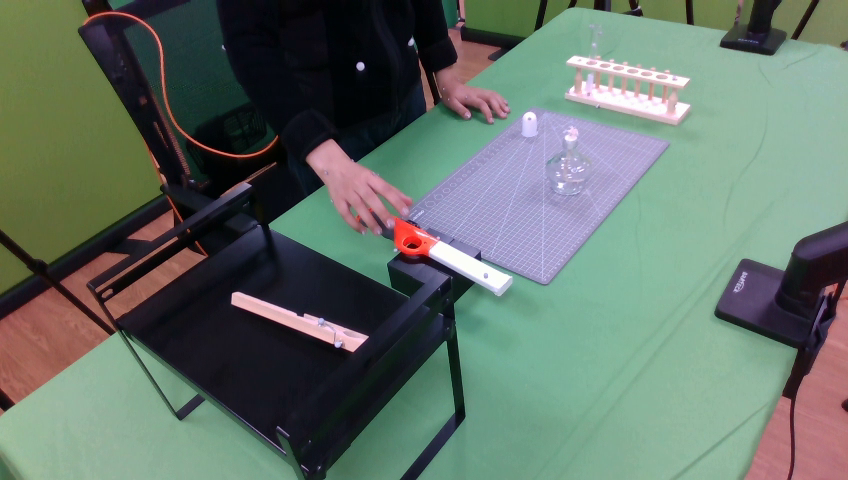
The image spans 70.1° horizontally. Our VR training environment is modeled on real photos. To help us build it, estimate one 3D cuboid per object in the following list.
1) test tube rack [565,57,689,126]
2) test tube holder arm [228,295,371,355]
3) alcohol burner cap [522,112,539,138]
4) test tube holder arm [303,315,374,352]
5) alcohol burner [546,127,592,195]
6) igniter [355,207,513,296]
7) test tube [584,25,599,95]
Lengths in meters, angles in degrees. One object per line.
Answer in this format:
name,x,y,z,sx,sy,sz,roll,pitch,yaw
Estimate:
test tube rack,0.412,-0.311,1.230,0.240,0.085,0.067,23,49,32
test tube holder arm,-0.132,0.084,0.618,0.177,0.015,0.013,14,6,24
alcohol burner cap,0.210,-0.230,1.195,0.034,0.048,0.033,-6,41,5
test tube holder arm,-0.089,0.094,0.604,0.087,0.015,0.010,14,6,25
alcohol burner,0.247,-0.137,1.024,0.078,0.119,0.077,-4,38,4
igniter,0.007,0.010,0.885,0.274,0.025,0.057,27,54,30
test tube,0.339,-0.361,1.224,0.017,0.151,0.017,-4,45,4
